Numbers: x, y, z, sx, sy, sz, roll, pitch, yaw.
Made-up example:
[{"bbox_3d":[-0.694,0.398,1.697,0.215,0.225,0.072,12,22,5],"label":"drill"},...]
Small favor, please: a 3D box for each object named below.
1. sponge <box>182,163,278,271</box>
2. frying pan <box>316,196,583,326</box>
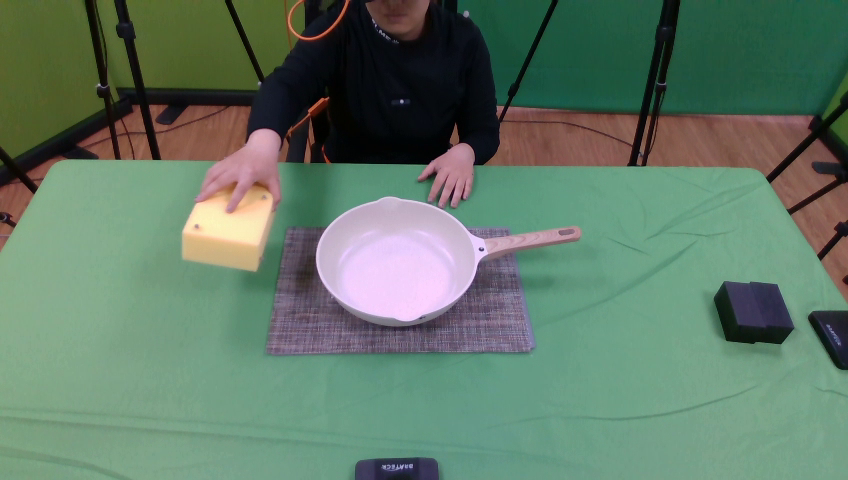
[{"bbox_3d":[-0.329,-0.044,1.048,0.118,0.061,0.205,10,39,-9],"label":"sponge"},{"bbox_3d":[0.054,0.027,1.114,0.488,0.103,0.304,-9,48,-1],"label":"frying pan"}]
